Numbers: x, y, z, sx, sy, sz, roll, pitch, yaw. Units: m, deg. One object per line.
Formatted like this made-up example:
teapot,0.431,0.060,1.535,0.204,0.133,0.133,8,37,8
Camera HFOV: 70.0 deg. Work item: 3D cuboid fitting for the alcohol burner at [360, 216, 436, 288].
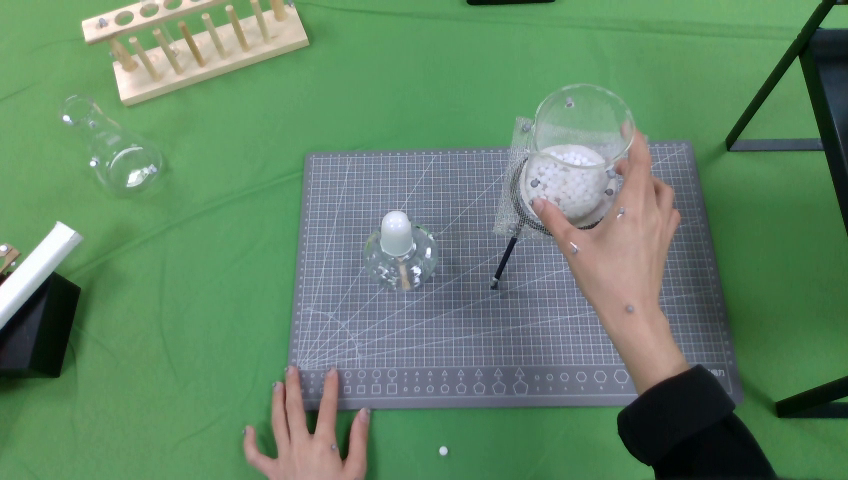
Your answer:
alcohol burner,-0.027,0.004,0.605,0.078,0.120,0.077,0,65,1

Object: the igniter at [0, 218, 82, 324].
igniter,-0.442,0.093,0.586,0.057,0.025,0.275,26,70,23

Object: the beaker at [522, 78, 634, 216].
beaker,0.117,-0.068,0.494,0.084,0.101,0.073,-24,68,-7

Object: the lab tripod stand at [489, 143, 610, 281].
lab tripod stand,0.127,-0.024,0.599,0.148,0.132,0.147,0,66,1

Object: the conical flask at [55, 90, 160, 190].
conical flask,-0.352,-0.113,0.668,0.075,0.123,0.075,-1,67,3

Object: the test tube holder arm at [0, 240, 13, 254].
test tube holder arm,-0.476,0.071,0.596,0.013,0.015,0.178,42,73,-14

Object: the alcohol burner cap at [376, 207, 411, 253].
alcohol burner cap,-0.029,-0.013,0.573,0.034,0.048,0.033,2,59,-2

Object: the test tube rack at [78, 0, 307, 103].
test tube rack,-0.278,-0.258,0.745,0.242,0.086,0.066,-21,68,-6

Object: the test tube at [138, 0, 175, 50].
test tube,-0.323,-0.280,0.702,0.017,0.151,0.017,-1,61,2

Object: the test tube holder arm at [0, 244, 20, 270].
test tube holder arm,-0.445,0.041,0.610,0.010,0.015,0.087,42,73,-13

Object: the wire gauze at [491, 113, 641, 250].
wire gauze,0.130,-0.054,0.540,0.121,0.011,0.124,12,66,4

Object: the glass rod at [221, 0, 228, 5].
glass rod,-0.250,-0.322,0.698,0.008,0.201,0.008,-2,59,4
